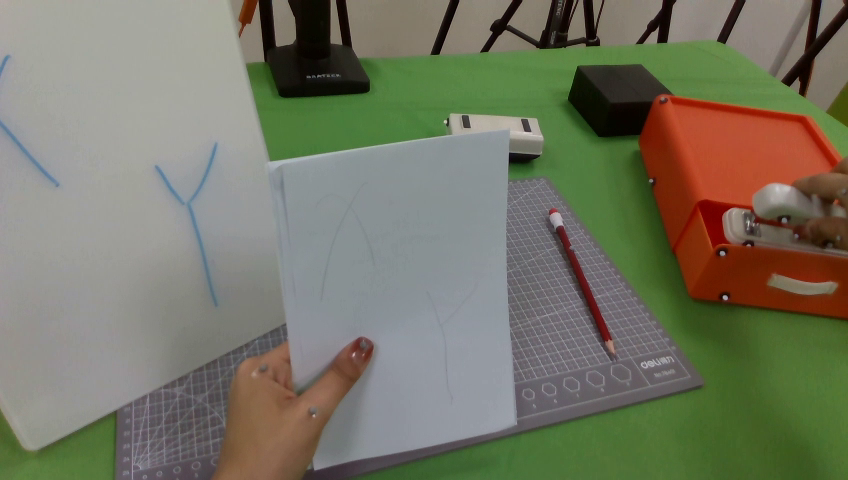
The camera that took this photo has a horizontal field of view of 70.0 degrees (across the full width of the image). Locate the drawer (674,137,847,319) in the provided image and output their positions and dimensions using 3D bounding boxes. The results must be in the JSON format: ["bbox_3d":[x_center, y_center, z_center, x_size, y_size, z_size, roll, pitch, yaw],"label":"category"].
[{"bbox_3d":[0.358,-0.021,0.632,0.194,0.074,0.210,7,41,0],"label":"drawer"}]

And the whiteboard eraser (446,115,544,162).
[{"bbox_3d":[0.084,-0.121,0.727,0.113,0.042,0.055,3,43,-6],"label":"whiteboard eraser"}]

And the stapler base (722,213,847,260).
[{"bbox_3d":[0.346,-0.005,0.561,0.130,0.024,0.041,9,61,0],"label":"stapler base"}]

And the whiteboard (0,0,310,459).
[{"bbox_3d":[-0.239,-0.049,0.436,0.217,0.308,0.142,-26,32,-31],"label":"whiteboard"}]

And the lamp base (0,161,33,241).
[{"bbox_3d":[-0.447,-0.088,0.494,0.178,0.182,0.160,18,42,15],"label":"lamp base"}]

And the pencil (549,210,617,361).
[{"bbox_3d":[0.151,0.036,0.581,0.012,0.012,0.192,-1,44,-10],"label":"pencil"}]

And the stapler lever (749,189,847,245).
[{"bbox_3d":[0.349,-0.019,0.539,0.118,0.040,0.026,9,61,0],"label":"stapler lever"}]

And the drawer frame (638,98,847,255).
[{"bbox_3d":[0.363,-0.064,0.678,0.202,0.083,0.211,7,41,-1],"label":"drawer frame"}]
